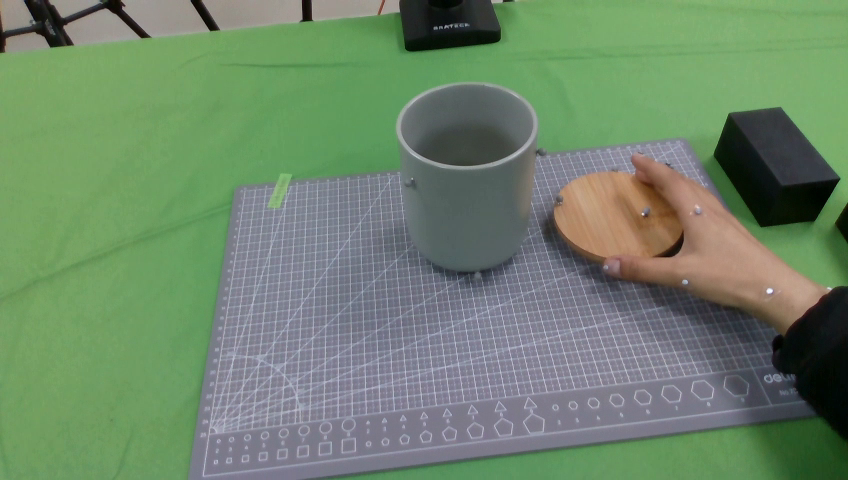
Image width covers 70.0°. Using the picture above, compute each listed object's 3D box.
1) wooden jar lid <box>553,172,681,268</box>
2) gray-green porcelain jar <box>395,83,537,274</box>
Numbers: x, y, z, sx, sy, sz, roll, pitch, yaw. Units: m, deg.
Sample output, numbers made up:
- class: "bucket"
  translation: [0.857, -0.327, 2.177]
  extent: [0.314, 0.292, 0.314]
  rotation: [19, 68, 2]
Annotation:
- class: "wooden jar lid"
  translation: [0.166, -0.016, 0.528]
  extent: [0.108, 0.021, 0.107]
  rotation: [-2, 48, 3]
- class: "gray-green porcelain jar"
  translation: [0.034, -0.043, 0.489]
  extent: [0.106, 0.128, 0.105]
  rotation: [-2, 48, 2]
